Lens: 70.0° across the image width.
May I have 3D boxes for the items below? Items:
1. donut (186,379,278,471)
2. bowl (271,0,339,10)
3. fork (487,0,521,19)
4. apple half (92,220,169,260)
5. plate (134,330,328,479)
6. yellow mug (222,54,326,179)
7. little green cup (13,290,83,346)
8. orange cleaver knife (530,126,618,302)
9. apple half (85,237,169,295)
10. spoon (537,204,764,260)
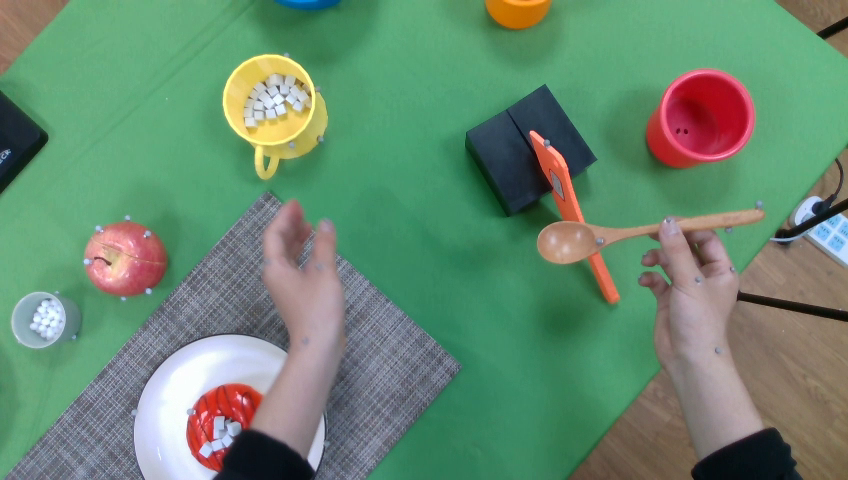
[{"bbox_3d":[-0.205,0.198,0.649,0.099,0.048,0.099,0,88,2],"label":"donut"},{"bbox_3d":[-0.129,-0.322,0.682,0.151,0.077,0.151,0,86,2],"label":"bowl"},{"bbox_3d":[0.138,-0.318,0.639,0.028,0.018,0.207,52,132,7],"label":"fork"},{"bbox_3d":[-0.314,-0.004,0.665,0.081,0.081,0.033,21,90,4],"label":"apple half"},{"bbox_3d":[-0.206,0.200,0.660,0.209,0.038,0.208,0,86,2],"label":"plate"},{"bbox_3d":[-0.168,-0.132,0.675,0.100,0.064,0.130,10,87,2],"label":"yellow mug"},{"bbox_3d":[-0.418,0.087,0.679,0.061,0.039,0.061,0,85,2],"label":"little green cup"},{"bbox_3d":[0.160,-0.025,0.646,0.012,0.076,0.213,-29,117,1],"label":"orange cleaver knife"},{"bbox_3d":[-0.328,0.032,0.664,0.081,0.074,0.053,21,90,0],"label":"apple half"},{"bbox_3d":[0.199,-0.011,0.545,0.193,0.022,0.041,-8,79,21],"label":"spoon"}]
